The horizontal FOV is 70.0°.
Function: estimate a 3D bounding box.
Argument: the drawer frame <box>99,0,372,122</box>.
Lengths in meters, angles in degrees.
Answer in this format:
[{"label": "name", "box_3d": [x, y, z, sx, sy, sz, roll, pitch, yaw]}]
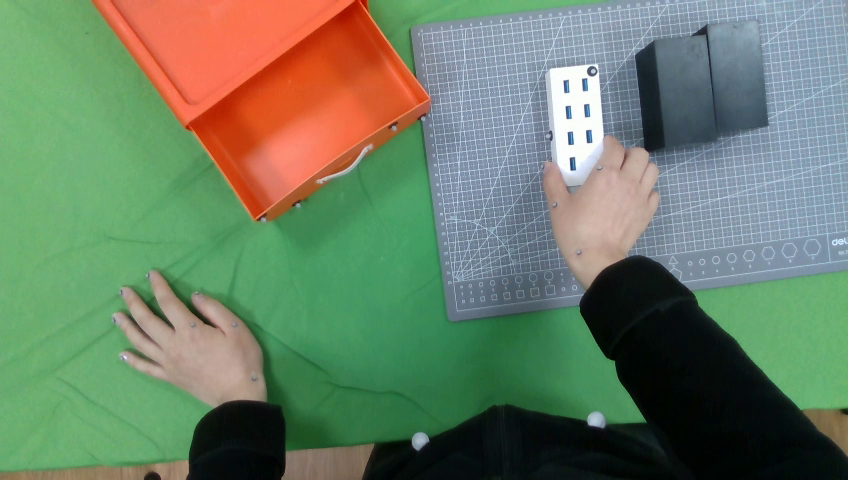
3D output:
[{"label": "drawer frame", "box_3d": [-0.191, -0.249, 0.556, 0.201, 0.082, 0.213, -37, 93, 1]}]

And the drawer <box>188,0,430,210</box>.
[{"label": "drawer", "box_3d": [-0.131, -0.165, 0.566, 0.194, 0.073, 0.212, -34, 93, 1]}]

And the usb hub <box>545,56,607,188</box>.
[{"label": "usb hub", "box_3d": [0.151, -0.116, 0.601, 0.049, 0.025, 0.125, -5, 94, -2]}]
